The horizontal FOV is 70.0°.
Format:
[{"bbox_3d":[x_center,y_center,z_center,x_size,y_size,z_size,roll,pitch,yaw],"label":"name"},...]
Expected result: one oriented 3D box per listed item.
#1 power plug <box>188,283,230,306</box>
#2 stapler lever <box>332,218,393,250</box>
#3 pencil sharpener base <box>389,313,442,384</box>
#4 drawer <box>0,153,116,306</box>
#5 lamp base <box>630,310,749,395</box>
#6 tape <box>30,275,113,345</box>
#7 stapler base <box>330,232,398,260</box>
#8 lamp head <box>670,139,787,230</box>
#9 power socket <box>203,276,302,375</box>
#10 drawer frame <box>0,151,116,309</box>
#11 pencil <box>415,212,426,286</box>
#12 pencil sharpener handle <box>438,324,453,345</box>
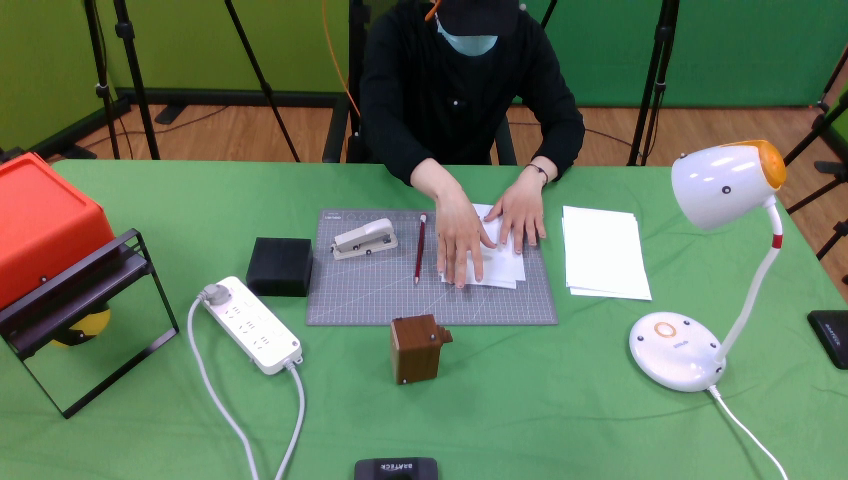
[{"bbox_3d":[-0.368,0.099,1.037,0.072,0.053,0.035,-24,52,-26],"label":"power plug"},{"bbox_3d":[-0.117,-0.012,1.162,0.118,0.040,0.026,-13,47,-14],"label":"stapler lever"},{"bbox_3d":[-0.013,0.175,0.971,0.077,0.107,0.061,-8,47,-11],"label":"pencil sharpener base"},{"bbox_3d":[-0.601,-0.015,0.880,0.193,0.073,0.211,32,53,23],"label":"drawer"},{"bbox_3d":[0.447,0.143,0.984,0.161,0.181,0.178,-24,55,-24],"label":"lamp base"},{"bbox_3d":[-0.593,0.117,1.021,0.117,0.053,0.116,2,46,-2],"label":"tape"},{"bbox_3d":[-0.116,0.004,1.181,0.131,0.024,0.041,-13,47,-14],"label":"stapler base"},{"bbox_3d":[0.415,-0.079,0.812,0.113,0.123,0.112,12,70,-37],"label":"lamp head"},{"bbox_3d":[-0.297,0.141,1.034,0.072,0.033,0.225,-34,58,-30],"label":"power socket"},{"bbox_3d":[-0.604,-0.013,0.876,0.201,0.083,0.213,31,52,23],"label":"drawer frame"},{"bbox_3d":[-0.007,0.014,1.190,0.012,0.012,0.193,5,48,1],"label":"pencil"},{"bbox_3d":[0.036,0.155,0.976,0.031,0.068,0.036,-8,70,-11],"label":"pencil sharpener handle"}]
